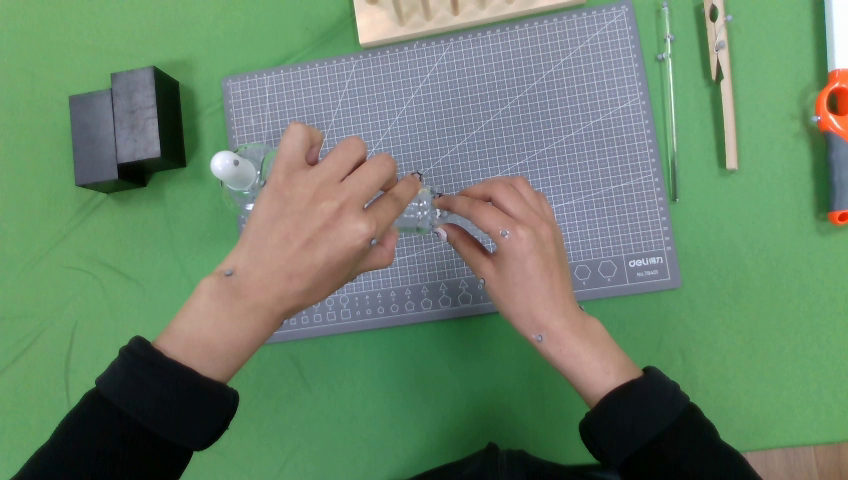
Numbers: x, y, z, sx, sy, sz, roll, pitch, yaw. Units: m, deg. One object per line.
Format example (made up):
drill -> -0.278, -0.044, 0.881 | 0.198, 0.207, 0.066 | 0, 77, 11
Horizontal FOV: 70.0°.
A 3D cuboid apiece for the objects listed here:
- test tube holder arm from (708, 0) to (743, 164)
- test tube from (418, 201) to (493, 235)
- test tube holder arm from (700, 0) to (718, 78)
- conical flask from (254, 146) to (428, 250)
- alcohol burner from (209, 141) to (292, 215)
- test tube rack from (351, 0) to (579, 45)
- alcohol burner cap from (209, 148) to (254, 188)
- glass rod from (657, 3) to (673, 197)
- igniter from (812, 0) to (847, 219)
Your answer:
test tube holder arm -> 0.298, -0.164, 0.602 | 0.013, 0.015, 0.178 | -12, 83, 44
test tube -> 0.032, -0.018, 0.538 | 0.017, 0.151, 0.017 | -2, 85, 25
test tube holder arm -> 0.289, -0.208, 0.609 | 0.010, 0.015, 0.087 | -10, 84, 44
conical flask -> -0.059, -0.028, 0.448 | 0.122, 0.075, 0.075 | 3, 86, -8
alcohol burner -> -0.179, -0.066, 0.609 | 0.078, 0.119, 0.077 | -1, 85, 10
test tube rack -> 0.037, -0.268, 0.612 | 0.242, 0.085, 0.066 | -9, 85, 7
alcohol burner cap -> -0.185, -0.070, 0.573 | 0.034, 0.048, 0.033 | -1, 81, 4
glass rod -> 0.245, -0.142, 0.613 | 0.008, 0.008, 0.199 | -2, 88, 7
igniter -> 0.403, -0.158, 0.585 | 0.057, 0.025, 0.276 | 0, 86, -2
